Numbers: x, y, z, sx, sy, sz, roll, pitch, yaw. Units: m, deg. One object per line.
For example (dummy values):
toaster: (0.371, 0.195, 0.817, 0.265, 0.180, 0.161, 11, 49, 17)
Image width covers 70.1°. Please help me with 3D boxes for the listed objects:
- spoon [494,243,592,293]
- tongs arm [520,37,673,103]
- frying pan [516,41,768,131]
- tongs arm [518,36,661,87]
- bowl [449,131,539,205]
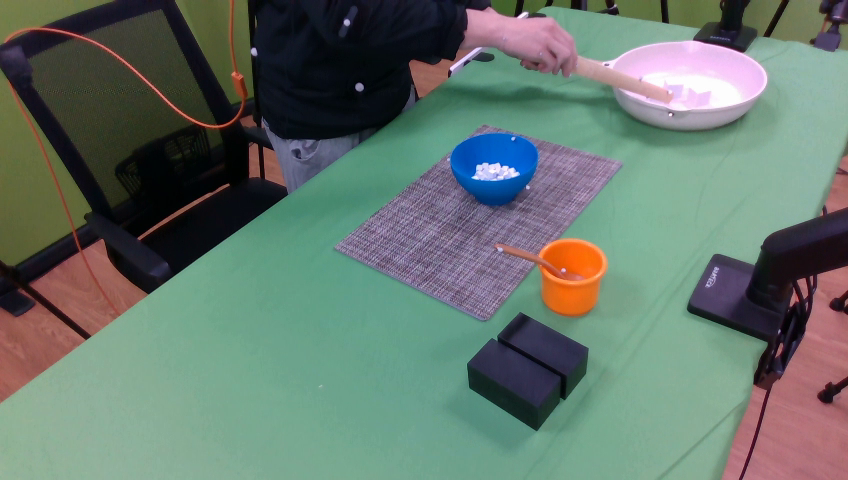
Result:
spoon: (0.161, 0.034, 0.808, 0.021, 0.195, 0.041, -48, 39, 20)
tongs arm: (0.326, -0.301, 1.093, 0.388, 0.026, 0.050, 2, 33, -38)
frying pan: (0.424, -0.338, 1.236, 0.486, 0.103, 0.307, 18, 45, 15)
tongs arm: (0.315, -0.314, 1.111, 0.391, 0.028, 0.028, 5, 35, -35)
bowl: (0.120, -0.114, 1.034, 0.151, 0.077, 0.150, -4, 41, 4)
